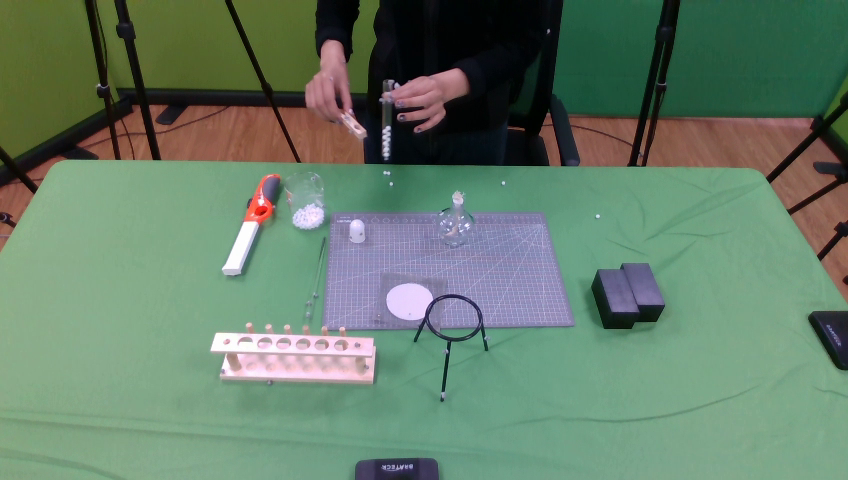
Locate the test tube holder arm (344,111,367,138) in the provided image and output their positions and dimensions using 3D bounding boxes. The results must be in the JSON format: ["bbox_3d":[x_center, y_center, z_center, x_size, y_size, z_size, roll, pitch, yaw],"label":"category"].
[{"bbox_3d":[-0.134,-0.219,1.146,0.010,0.015,0.087,-25,49,-23],"label":"test tube holder arm"}]

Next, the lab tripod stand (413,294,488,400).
[{"bbox_3d":[0.044,0.159,0.972,0.148,0.132,0.147,2,44,-2],"label":"lab tripod stand"}]

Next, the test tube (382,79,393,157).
[{"bbox_3d":[-0.067,-0.215,1.086,0.017,0.151,0.017,3,39,-3],"label":"test tube"}]

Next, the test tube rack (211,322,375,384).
[{"bbox_3d":[-0.202,0.176,0.969,0.242,0.085,0.066,3,46,-2],"label":"test tube rack"}]

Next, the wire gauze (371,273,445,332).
[{"bbox_3d":[-0.028,0.108,1.100,0.125,0.011,0.121,7,45,4],"label":"wire gauze"}]

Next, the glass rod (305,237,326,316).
[{"bbox_3d":[-0.202,0.063,1.131,0.008,0.008,0.198,4,44,0],"label":"glass rod"}]

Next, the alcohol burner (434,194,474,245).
[{"bbox_3d":[0.061,-0.046,1.183,0.078,0.119,0.077,3,47,-3],"label":"alcohol burner"}]

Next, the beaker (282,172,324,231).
[{"bbox_3d":[-0.234,-0.073,1.199,0.084,0.101,0.074,24,50,17],"label":"beaker"}]

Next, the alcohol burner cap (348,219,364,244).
[{"bbox_3d":[-0.134,-0.019,1.190,0.034,0.048,0.033,2,46,-2],"label":"alcohol burner cap"}]

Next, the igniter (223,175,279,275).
[{"bbox_3d":[-0.341,-0.039,1.206,0.057,0.025,0.275,-1,45,8],"label":"igniter"}]

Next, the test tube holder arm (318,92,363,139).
[{"bbox_3d":[-0.164,-0.242,1.171,0.013,0.015,0.177,-26,49,-24],"label":"test tube holder arm"}]
